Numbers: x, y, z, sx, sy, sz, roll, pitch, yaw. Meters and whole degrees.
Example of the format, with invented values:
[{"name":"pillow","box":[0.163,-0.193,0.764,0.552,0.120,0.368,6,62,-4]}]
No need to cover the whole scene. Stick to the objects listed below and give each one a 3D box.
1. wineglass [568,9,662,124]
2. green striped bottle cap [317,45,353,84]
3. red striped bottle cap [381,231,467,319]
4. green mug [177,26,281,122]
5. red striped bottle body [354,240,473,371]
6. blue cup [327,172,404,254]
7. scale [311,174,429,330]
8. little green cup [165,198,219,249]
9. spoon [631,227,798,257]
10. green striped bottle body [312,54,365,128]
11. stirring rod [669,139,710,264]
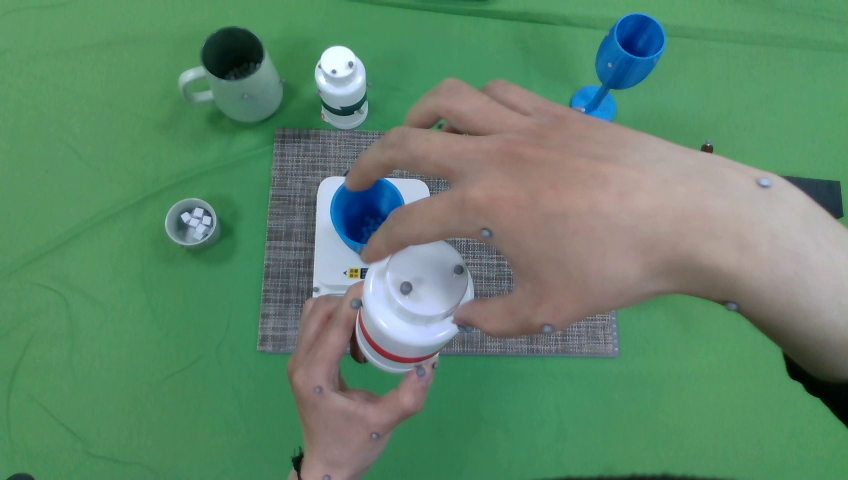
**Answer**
[{"name":"wineglass","box":[0.242,-0.218,0.786,0.074,0.173,0.073,1,75,-3]},{"name":"green striped bottle cap","box":[-0.108,-0.214,0.736,0.044,0.020,0.044,1,74,-4]},{"name":"red striped bottle cap","box":[0.000,0.018,0.317,0.044,0.018,0.044,3,72,-8]},{"name":"green mug","box":[-0.255,-0.208,0.786,0.125,0.105,0.092,-21,78,-8]},{"name":"red striped bottle body","box":[-0.008,0.039,0.366,0.063,0.120,0.062,4,68,-9]},{"name":"blue cup","box":[-0.069,-0.024,0.717,0.093,0.100,0.092,1,77,-5]},{"name":"scale","box":[-0.067,0.014,0.775,0.149,0.031,0.200,0,76,-3]},{"name":"little green cup","box":[-0.291,-0.019,0.768,0.061,0.039,0.061,1,75,-5]},{"name":"spoon","box":[0.350,0.008,0.748,0.022,0.192,0.041,23,78,-42]},{"name":"green striped bottle body","box":[-0.110,-0.199,0.786,0.063,0.120,0.063,1,74,-3]},{"name":"stirring rod","box":[0.331,-0.043,0.760,0.014,0.177,0.006,6,34,11]}]
